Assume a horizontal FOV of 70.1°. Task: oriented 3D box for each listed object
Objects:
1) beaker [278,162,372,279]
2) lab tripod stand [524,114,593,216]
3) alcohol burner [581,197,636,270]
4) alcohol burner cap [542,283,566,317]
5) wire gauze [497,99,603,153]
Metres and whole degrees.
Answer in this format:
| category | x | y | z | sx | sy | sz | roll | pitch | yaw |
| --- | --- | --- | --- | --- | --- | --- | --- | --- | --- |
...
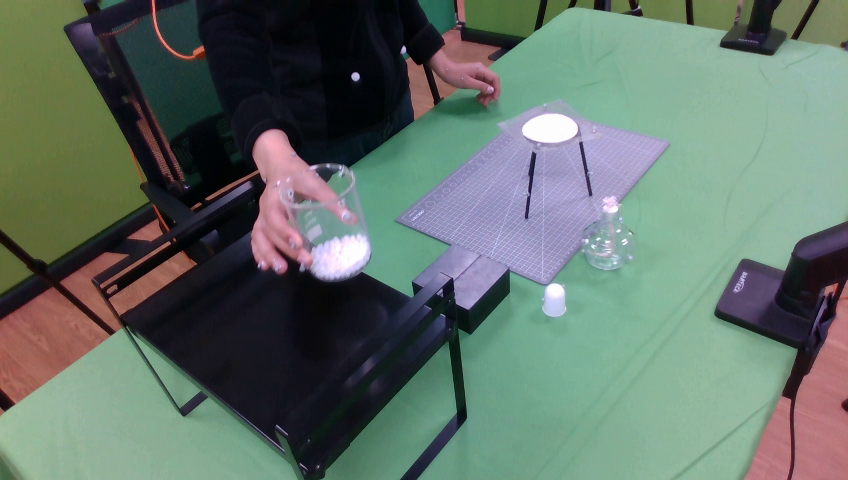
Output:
| category | x | y | z | sx | sy | sz | roll | pitch | yaw |
| --- | --- | --- | --- | --- | --- | --- | --- | --- | --- |
| beaker | -0.093 | -0.018 | 0.606 | 0.073 | 0.101 | 0.084 | 12 | 43 | 26 |
| lab tripod stand | 0.210 | -0.127 | 1.001 | 0.148 | 0.132 | 0.147 | -4 | 43 | 4 |
| alcohol burner | 0.270 | -0.015 | 0.882 | 0.078 | 0.119 | 0.077 | -5 | 42 | 5 |
| alcohol burner cap | 0.181 | 0.080 | 0.840 | 0.034 | 0.048 | 0.033 | -3 | 41 | 3 |
| wire gauze | 0.199 | -0.181 | 0.962 | 0.125 | 0.011 | 0.120 | -20 | 43 | -13 |
